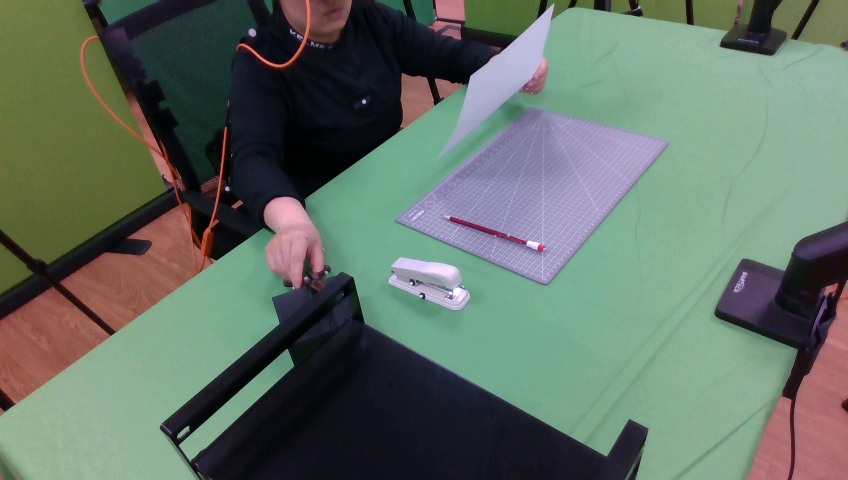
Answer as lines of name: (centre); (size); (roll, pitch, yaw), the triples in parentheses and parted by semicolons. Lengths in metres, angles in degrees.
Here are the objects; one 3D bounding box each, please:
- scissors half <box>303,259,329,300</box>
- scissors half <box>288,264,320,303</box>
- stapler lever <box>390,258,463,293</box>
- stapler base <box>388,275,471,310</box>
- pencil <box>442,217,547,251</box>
scissors half: (-0.153, 0.056, 0.871); (0.040, 0.013, 0.174); (-26, 19, -5)
scissors half: (-0.169, 0.065, 0.868); (0.040, 0.013, 0.174); (-35, 20, -12)
stapler lever: (0.003, 0.046, 0.881); (0.117, 0.040, 0.027); (17, 44, 29)
stapler base: (0.007, 0.066, 0.897); (0.129, 0.024, 0.041); (17, 43, 29)
pencil: (0.110, -0.012, 0.979); (0.192, 0.012, 0.012); (18, 46, 30)
